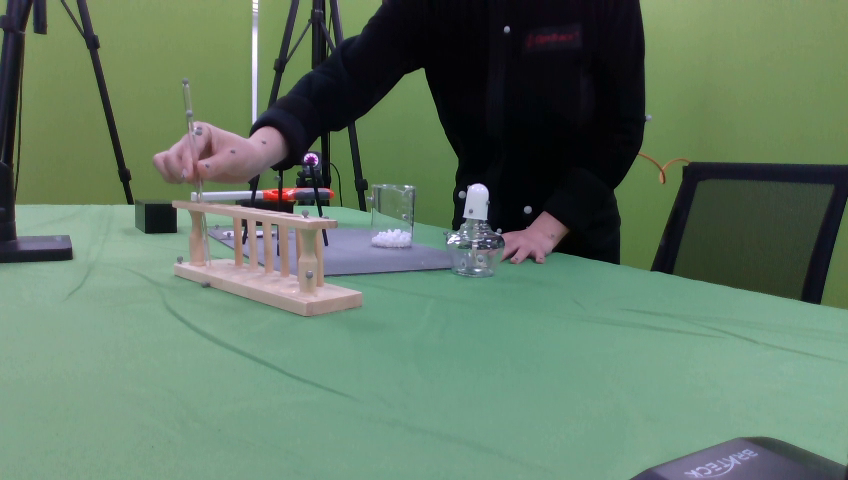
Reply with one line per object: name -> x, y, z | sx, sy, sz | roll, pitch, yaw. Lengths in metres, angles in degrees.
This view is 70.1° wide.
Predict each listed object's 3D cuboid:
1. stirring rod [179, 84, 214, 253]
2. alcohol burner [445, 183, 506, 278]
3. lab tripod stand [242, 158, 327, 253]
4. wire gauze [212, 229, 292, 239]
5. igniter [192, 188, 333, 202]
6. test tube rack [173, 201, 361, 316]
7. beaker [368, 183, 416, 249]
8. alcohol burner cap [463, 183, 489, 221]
stirring rod -> -0.238, -0.073, 0.633 | 0.014, 0.176, 0.006 | -11, 9, -38
alcohol burner -> 0.065, -0.013, 0.770 | 0.078, 0.119, 0.078 | 0, 7, 0
lab tripod stand -> -0.207, -0.054, 0.894 | 0.148, 0.131, 0.148 | 3, 5, 0
wire gauze -> -0.298, -0.013, 1.039 | 0.122, 0.011, 0.124 | -2, 6, -27
igniter -> -0.316, -0.090, 1.212 | 0.278, 0.025, 0.057 | -5, 12, -32
test tube rack -> -0.169, 0.010, 0.621 | 0.241, 0.085, 0.067 | 9, 9, 41
beaker -> -0.051, -0.039, 0.971 | 0.074, 0.100, 0.083 | -1, 9, -25
alcohol burner cap -> 0.067, -0.048, 0.765 | 0.034, 0.048, 0.034 | 5, 5, 0
